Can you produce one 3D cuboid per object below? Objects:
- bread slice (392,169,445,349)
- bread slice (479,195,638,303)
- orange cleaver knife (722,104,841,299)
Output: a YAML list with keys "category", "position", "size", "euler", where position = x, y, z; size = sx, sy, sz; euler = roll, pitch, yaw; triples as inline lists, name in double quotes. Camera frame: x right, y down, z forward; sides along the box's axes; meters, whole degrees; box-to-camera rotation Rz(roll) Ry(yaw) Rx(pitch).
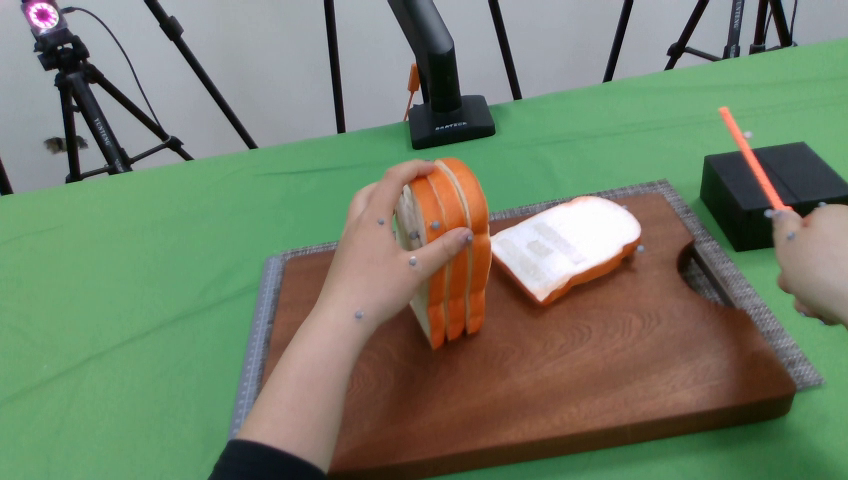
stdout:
- category: "bread slice"
  position: [-0.006, 0.007, 0.515]
  size: [0.018, 0.135, 0.106]
  euler: [-11, 33, -15]
- category: "bread slice"
  position: [0.133, 0.003, 0.568]
  size: [0.131, 0.019, 0.103]
  euler: [-25, 37, -11]
- category: "orange cleaver knife"
  position: [0.272, -0.030, 0.467]
  size: [0.012, 0.078, 0.209]
  euler: [-28, 38, 27]
